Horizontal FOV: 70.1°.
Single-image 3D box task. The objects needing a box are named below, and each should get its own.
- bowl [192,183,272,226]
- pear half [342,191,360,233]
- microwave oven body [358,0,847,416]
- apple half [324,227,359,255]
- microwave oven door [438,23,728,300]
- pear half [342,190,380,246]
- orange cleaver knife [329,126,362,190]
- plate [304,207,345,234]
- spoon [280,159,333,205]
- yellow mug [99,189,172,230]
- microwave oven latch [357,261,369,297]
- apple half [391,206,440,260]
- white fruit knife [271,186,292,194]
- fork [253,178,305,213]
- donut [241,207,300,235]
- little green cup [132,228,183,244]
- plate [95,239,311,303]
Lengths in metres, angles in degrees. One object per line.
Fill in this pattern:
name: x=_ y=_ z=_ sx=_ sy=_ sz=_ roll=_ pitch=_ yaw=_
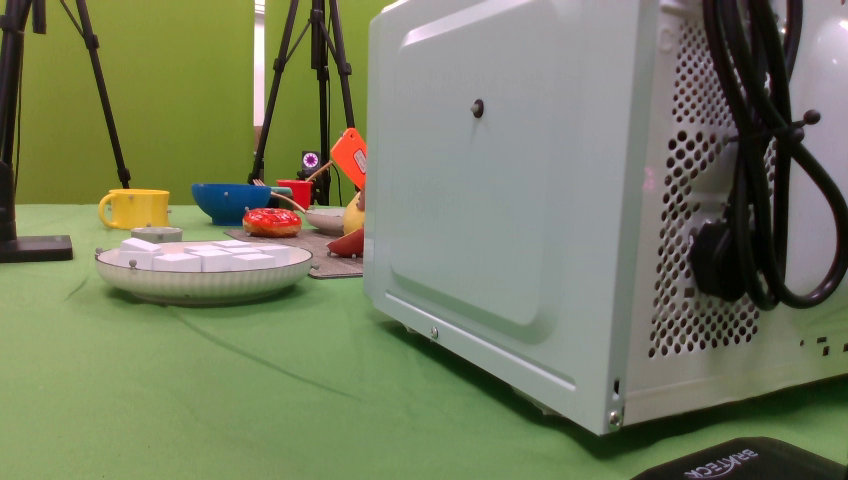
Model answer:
bowl: x=-0.381 y=-0.071 z=1.202 sx=0.151 sy=0.077 sz=0.151 roll=3 pitch=7 yaw=0
pear half: x=-0.081 y=-0.041 z=0.925 sx=0.055 sy=0.110 sz=0.077 roll=6 pitch=12 yaw=39
microwave oven body: x=0.211 y=-0.047 z=0.474 sx=0.444 sy=0.260 sz=0.324 roll=-1 pitch=7 yaw=-28
apple half: x=-0.096 y=0.002 z=0.848 sx=0.081 sy=0.033 sz=0.081 roll=-22 pitch=0 yaw=1
microwave oven door: x=0.181 y=-0.072 z=0.621 sx=0.358 sy=0.243 sz=0.039 roll=-2 pitch=8 yaw=-29
pear half: x=-0.105 y=-0.035 z=0.950 sx=0.031 sy=0.088 sz=0.071 roll=6 pitch=14 yaw=41
orange cleaver knife: x=-0.073 y=-0.098 z=0.961 sx=0.012 sy=0.077 sz=0.212 roll=-1 pitch=-29 yaw=39
plate: x=-0.123 y=-0.037 z=1.149 sx=0.209 sy=0.038 sz=0.209 roll=2 pitch=7 yaw=0
spoon: x=-0.316 y=-0.159 z=1.639 sx=0.194 sy=0.022 sz=0.041 roll=-49 pitch=33 yaw=-20
yellow mug: x=-0.518 y=-0.055 z=1.080 sx=0.099 sy=0.064 sz=0.131 roll=7 pitch=9 yaw=26
microwave oven latch: x=-0.019 y=0.033 z=0.531 sx=0.079 sy=0.029 sz=0.030 roll=-1 pitch=7 yaw=-27
apple half: x=-0.006 y=-0.009 z=0.837 sx=0.053 sy=0.074 sz=0.081 roll=10 pitch=6 yaw=23
white fruit knife: x=-0.399 y=-0.111 z=1.368 sx=0.208 sy=0.016 sz=0.027 roll=-4 pitch=-20 yaw=-29
fork: x=-0.294 y=-0.084 z=1.293 sx=0.206 sy=0.018 sz=0.028 roll=29 pitch=11 yaw=26
donut: x=-0.263 y=-0.031 z=1.039 sx=0.099 sy=0.048 sz=0.099 roll=4 pitch=10 yaw=0
little green cup: x=-0.342 y=0.006 z=0.779 sx=0.061 sy=0.038 sz=0.061 roll=2 pitch=8 yaw=0
plate: x=-0.224 y=0.031 z=0.629 sx=0.208 sy=0.039 sz=0.207 roll=2 pitch=7 yaw=0
